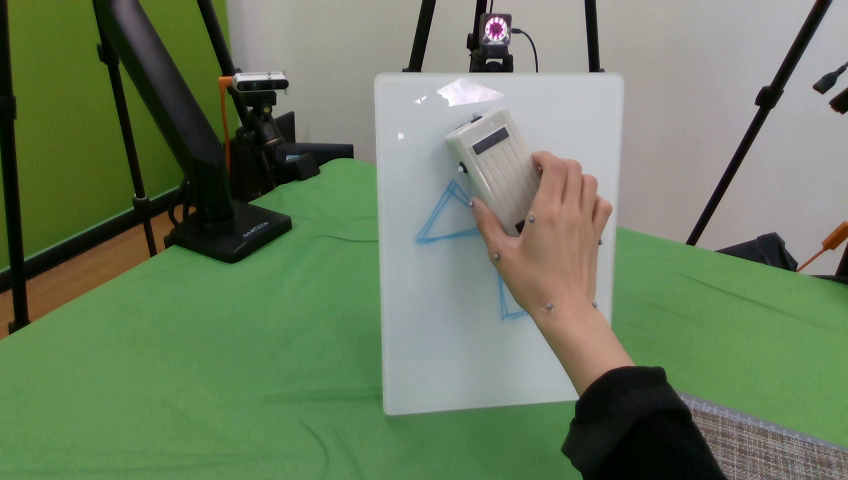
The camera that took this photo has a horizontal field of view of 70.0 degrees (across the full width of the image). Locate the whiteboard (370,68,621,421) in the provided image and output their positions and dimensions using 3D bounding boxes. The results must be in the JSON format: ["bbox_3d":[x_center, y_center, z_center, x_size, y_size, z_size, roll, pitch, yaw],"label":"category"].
[{"bbox_3d":[0.056,-0.005,0.596,0.218,0.306,0.143,-3,12,-8],"label":"whiteboard"}]

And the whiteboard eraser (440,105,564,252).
[{"bbox_3d":[0.064,-0.049,0.497,0.055,0.113,0.041,-33,11,-8],"label":"whiteboard eraser"}]
